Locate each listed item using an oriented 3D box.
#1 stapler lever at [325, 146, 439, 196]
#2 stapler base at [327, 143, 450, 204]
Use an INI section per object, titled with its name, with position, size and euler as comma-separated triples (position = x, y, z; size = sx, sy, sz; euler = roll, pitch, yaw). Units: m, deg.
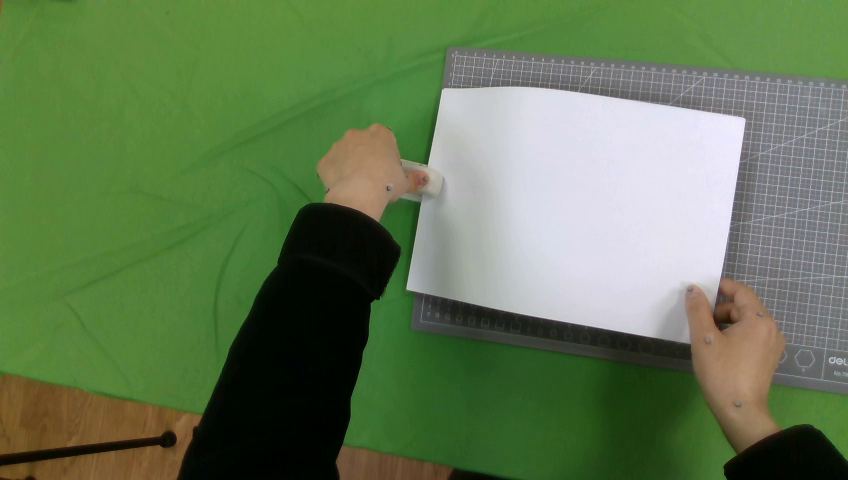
[stapler lever]
position = -0.043, -0.071, 0.614
size = 0.118, 0.040, 0.027
euler = 14, 87, 0
[stapler base]
position = -0.040, -0.071, 0.630
size = 0.130, 0.024, 0.041
euler = 14, 88, 10
